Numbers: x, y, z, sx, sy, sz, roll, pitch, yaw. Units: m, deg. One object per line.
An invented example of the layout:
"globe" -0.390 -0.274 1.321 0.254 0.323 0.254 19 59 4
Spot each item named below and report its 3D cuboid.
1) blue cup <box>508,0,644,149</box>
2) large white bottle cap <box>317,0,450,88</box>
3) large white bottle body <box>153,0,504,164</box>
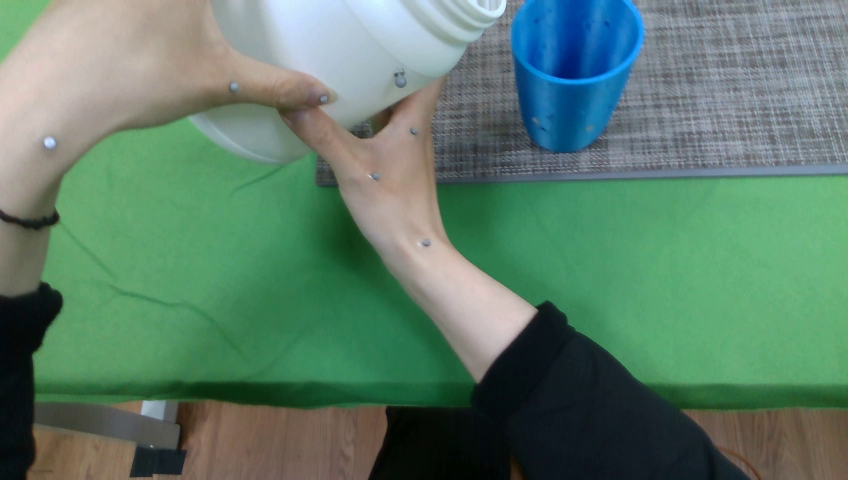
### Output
"blue cup" 0.103 -0.116 0.432 0.092 0.101 0.092 -3 66 7
"large white bottle cap" -0.034 -0.183 0.521 0.115 0.018 0.114 -2 67 5
"large white bottle body" -0.057 -0.139 0.366 0.184 0.132 0.129 -22 62 32
